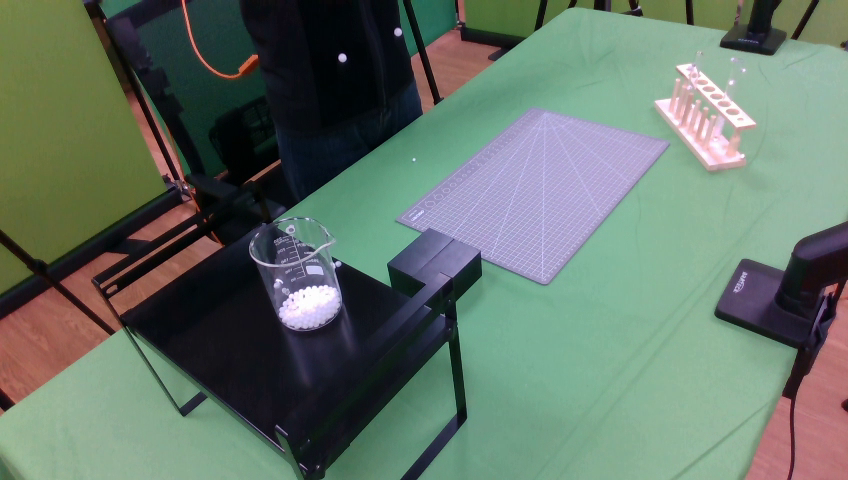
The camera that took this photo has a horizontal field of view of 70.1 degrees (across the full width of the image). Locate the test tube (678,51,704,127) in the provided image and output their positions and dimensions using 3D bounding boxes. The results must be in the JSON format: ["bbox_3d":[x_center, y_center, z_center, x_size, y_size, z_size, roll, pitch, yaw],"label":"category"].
[{"bbox_3d":[0.486,-0.272,1.100,0.017,0.151,0.017,-3,42,3],"label":"test tube"}]

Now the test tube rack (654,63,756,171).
[{"bbox_3d":[0.510,-0.233,1.120,0.067,0.085,0.241,-8,41,-1],"label":"test tube rack"}]

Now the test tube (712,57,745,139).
[{"bbox_3d":[0.529,-0.244,1.053,0.017,0.151,0.017,-1,39,1],"label":"test tube"}]

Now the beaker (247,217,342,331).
[{"bbox_3d":[-0.124,0.037,0.614,0.084,0.101,0.073,-7,41,0],"label":"beaker"}]
